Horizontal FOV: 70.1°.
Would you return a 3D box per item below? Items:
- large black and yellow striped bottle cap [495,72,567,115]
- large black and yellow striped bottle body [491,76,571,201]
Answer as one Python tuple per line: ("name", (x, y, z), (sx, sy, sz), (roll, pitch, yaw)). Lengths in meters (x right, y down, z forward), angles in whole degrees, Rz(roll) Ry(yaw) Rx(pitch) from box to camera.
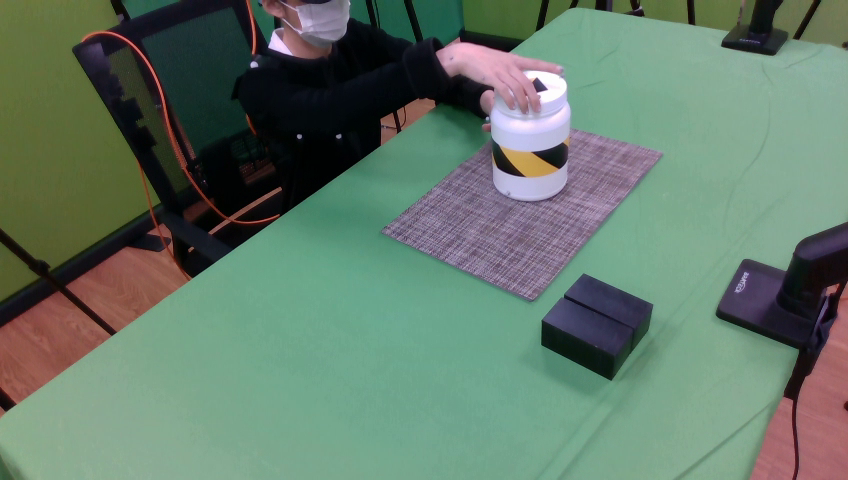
("large black and yellow striped bottle cap", (0.169, -0.235, 0.964), (0.115, 0.019, 0.114), (-5, 39, 4))
("large black and yellow striped bottle body", (0.179, -0.172, 1.019), (0.131, 0.185, 0.130), (-5, 40, 4))
